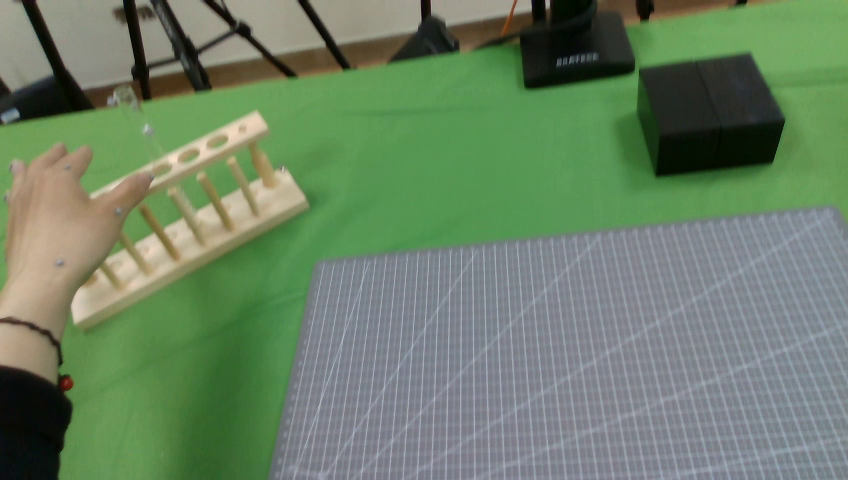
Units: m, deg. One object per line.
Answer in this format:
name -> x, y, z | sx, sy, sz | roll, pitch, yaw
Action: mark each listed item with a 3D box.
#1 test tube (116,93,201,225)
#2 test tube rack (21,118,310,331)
test tube -> -0.245, -0.069, 0.570 | 0.017, 0.152, 0.017 | -6, 44, 6
test tube rack -> -0.244, -0.018, 0.591 | 0.242, 0.086, 0.066 | -30, 48, -12
